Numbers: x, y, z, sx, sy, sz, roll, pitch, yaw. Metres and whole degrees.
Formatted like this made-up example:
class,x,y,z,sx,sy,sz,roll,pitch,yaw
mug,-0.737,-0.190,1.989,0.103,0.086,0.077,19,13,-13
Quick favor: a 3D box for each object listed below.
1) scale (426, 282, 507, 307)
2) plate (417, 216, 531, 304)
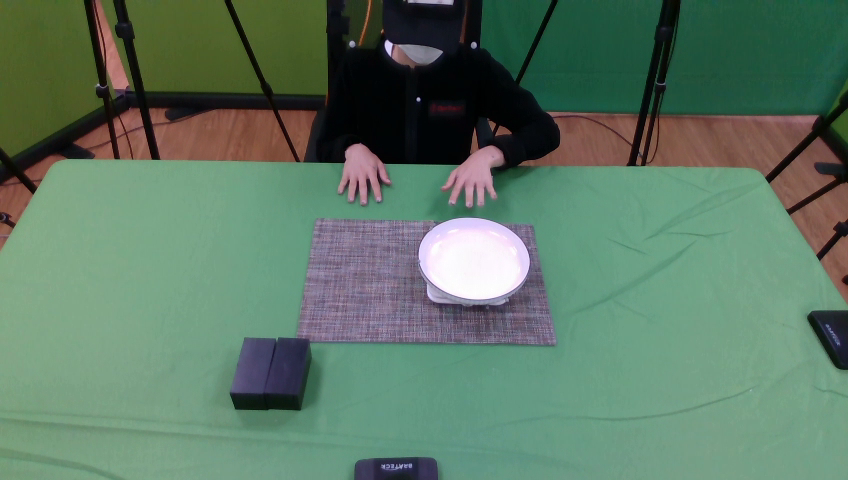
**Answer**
class,x,y,z,sx,sy,sz,roll,pitch,yaw
scale,0.078,0.043,1.152,0.149,0.032,0.199,3,45,-2
plate,0.089,0.039,1.110,0.208,0.039,0.206,2,46,-1
